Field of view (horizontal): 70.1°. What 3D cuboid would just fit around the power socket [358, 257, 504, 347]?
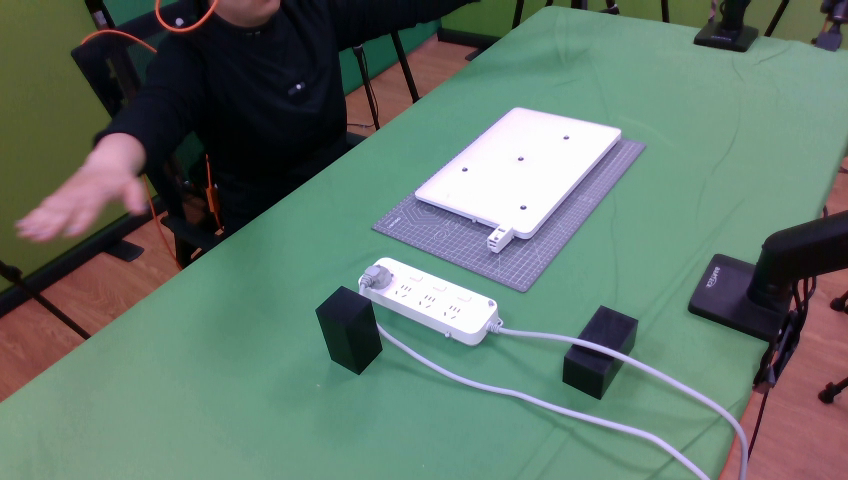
[{"bbox_3d":[0.003,0.084,0.862,0.225,0.033,0.072,21,50,29],"label":"power socket"}]

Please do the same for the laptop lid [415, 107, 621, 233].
[{"bbox_3d":[0.175,-0.144,1.094,0.239,0.013,0.358,23,49,33],"label":"laptop lid"}]

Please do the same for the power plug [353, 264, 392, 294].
[{"bbox_3d":[-0.078,0.063,0.867,0.073,0.053,0.035,-37,48,-26],"label":"power plug"}]

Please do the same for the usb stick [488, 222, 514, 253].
[{"bbox_3d":[0.124,-0.008,0.944,0.021,0.027,0.059,25,47,31],"label":"usb stick"}]

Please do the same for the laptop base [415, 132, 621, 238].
[{"bbox_3d":[0.178,-0.134,1.101,0.233,0.023,0.355,20,47,33],"label":"laptop base"}]
